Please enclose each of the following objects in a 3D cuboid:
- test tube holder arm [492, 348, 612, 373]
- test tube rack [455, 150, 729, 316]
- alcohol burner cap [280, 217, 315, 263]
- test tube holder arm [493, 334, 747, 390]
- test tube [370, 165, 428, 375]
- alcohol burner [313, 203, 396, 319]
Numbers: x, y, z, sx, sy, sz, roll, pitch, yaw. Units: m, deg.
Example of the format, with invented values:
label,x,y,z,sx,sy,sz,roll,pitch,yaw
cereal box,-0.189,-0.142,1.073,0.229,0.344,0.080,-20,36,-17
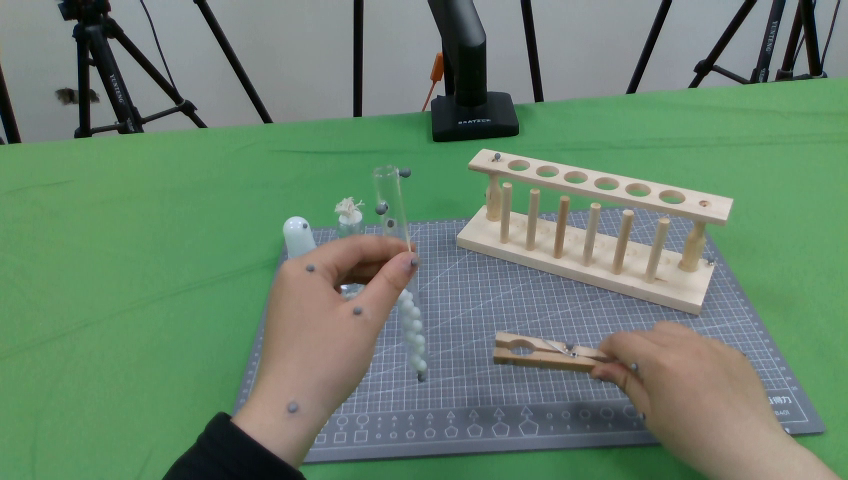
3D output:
label,x,y,z,sx,sy,sz,roll,pitch,yaw
test tube holder arm,0.095,0.091,0.455,0.087,0.015,0.010,2,59,13
test tube rack,0.149,-0.014,0.584,0.241,0.086,0.066,16,43,26
alcohol burner cap,-0.135,-0.003,0.641,0.034,0.048,0.033,-2,39,2
test tube holder arm,0.140,0.089,0.447,0.178,0.015,0.013,6,60,15
test tube,-0.014,0.025,0.383,0.017,0.151,0.017,-7,28,4
alcohol burner,-0.065,0.015,0.551,0.078,0.120,0.077,-2,39,2
